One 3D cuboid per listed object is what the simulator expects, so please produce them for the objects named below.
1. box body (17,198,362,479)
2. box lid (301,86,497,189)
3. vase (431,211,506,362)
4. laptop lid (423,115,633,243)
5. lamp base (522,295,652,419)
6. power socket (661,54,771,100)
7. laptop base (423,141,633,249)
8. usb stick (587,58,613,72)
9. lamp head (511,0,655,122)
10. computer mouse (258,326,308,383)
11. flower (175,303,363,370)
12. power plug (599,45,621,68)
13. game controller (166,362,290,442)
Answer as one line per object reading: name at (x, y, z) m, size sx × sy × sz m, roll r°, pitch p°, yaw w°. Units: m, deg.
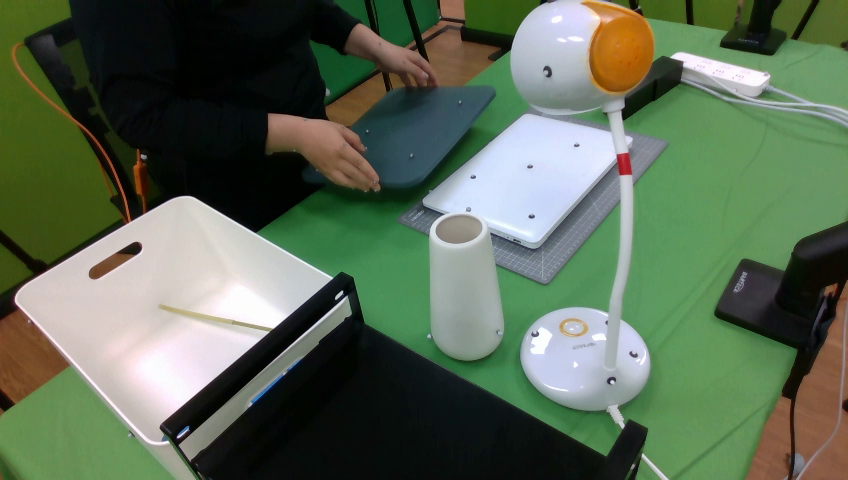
box body at (-0.285, 0.123, 0.766) m, size 0.361 × 0.161 × 0.255 m, roll 25°, pitch 49°, yaw 33°
box lid at (-0.039, -0.208, 1.159) m, size 0.261 × 0.015 × 0.372 m, roll 7°, pitch 41°, yaw 30°
vase at (0.054, 0.062, 0.757) m, size 0.098 × 0.201 × 0.097 m, roll -3°, pitch 40°, yaw 3°
laptop lid at (0.190, -0.126, 1.081) m, size 0.239 × 0.013 × 0.358 m, roll 23°, pitch 48°, yaw 34°
lamp base at (0.201, 0.095, 0.710) m, size 0.161 × 0.181 × 0.177 m, roll -16°, pitch 43°, yaw -10°
power socket at (0.615, -0.348, 1.285) m, size 0.072 × 0.033 × 0.225 m, roll -36°, pitch 48°, yaw -29°
laptop base at (0.194, -0.117, 1.088) m, size 0.233 × 0.023 × 0.355 m, roll 21°, pitch 48°, yaw 34°
usb stick at (0.401, -0.399, 1.381) m, size 0.059 × 0.027 × 0.021 m, roll 1°, pitch 48°, yaw 21°
lamp head at (0.155, -0.168, 0.564) m, size 0.113 × 0.113 × 0.122 m, roll -18°, pitch 23°, yaw -12°
computer mouse at (-0.160, 0.157, 0.792) m, size 0.116 × 0.041 × 0.063 m, roll 27°, pitch 47°, yaw 23°
flower at (-0.233, 0.119, 0.831) m, size 0.359 × 0.038 × 0.044 m, roll 8°, pitch 86°, yaw 33°
power plug at (0.437, -0.422, 1.412) m, size 0.053 × 0.035 × 0.072 m, roll -17°, pitch 75°, yaw -47°
game controller at (-0.233, 0.210, 0.737) m, size 0.096 × 0.052 × 0.155 m, roll 27°, pitch 52°, yaw 32°
